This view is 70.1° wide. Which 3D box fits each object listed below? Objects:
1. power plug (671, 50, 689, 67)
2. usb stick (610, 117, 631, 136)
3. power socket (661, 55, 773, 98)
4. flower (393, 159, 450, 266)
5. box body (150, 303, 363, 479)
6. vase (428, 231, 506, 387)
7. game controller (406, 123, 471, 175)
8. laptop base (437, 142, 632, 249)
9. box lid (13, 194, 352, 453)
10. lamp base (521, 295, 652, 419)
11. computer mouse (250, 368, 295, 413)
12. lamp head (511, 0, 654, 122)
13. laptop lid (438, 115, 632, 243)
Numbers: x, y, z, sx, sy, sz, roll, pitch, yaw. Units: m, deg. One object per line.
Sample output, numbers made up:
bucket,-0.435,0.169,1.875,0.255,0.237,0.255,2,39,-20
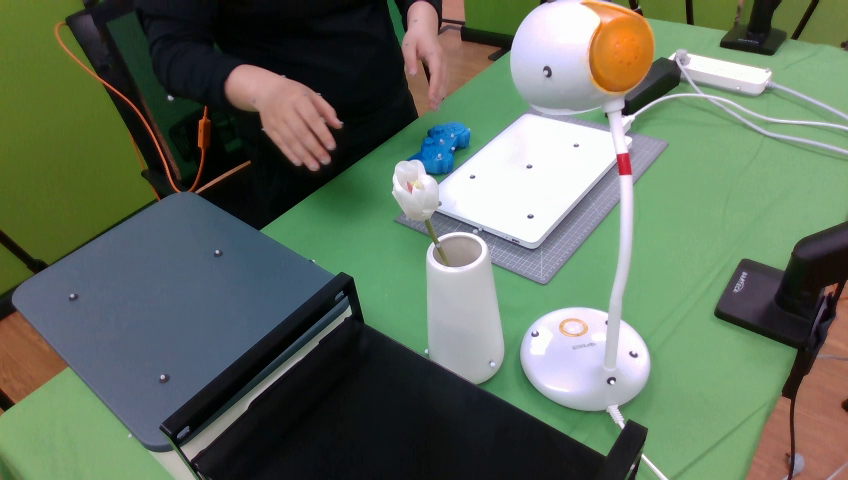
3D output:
power plug,0.540,-0.379,1.302,0.073,0.053,0.035,-31,46,-23
usb stick,0.369,-0.208,1.147,0.021,0.027,0.059,25,55,33
power socket,0.619,-0.353,1.289,0.225,0.033,0.072,26,51,33
flower,0.028,0.036,0.664,0.043,0.364,0.038,35,73,29
box body,-0.284,0.123,0.765,0.361,0.161,0.255,25,49,33
vase,0.050,0.087,0.728,0.098,0.201,0.097,-3,40,3
game controller,0.028,-0.181,1.169,0.096,0.052,0.155,15,45,18
laptop base,0.193,-0.117,1.087,0.233,0.023,0.355,21,48,34
box lid,-0.291,0.067,0.716,0.368,0.015,0.264,25,50,33
lamp base,0.201,0.095,0.710,0.161,0.181,0.178,-16,43,-10
computer mouse,-0.196,0.182,0.771,0.063,0.041,0.116,-12,47,-11
lamp head,0.155,-0.168,0.563,0.113,0.113,0.122,-18,23,-12
laptop lid,0.189,-0.126,1.081,0.239,0.013,0.358,23,48,35
